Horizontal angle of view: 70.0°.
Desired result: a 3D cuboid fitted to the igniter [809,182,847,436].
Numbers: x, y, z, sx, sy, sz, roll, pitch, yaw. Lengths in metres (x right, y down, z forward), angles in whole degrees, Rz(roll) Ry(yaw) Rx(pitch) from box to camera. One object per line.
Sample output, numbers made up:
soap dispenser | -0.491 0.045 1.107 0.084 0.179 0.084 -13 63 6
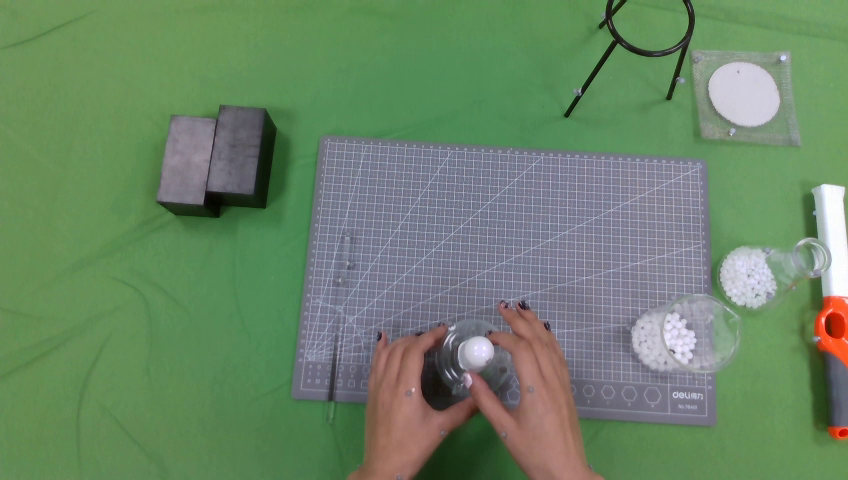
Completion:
igniter | 0.448 0.071 0.660 0.057 0.025 0.275 7 77 -11

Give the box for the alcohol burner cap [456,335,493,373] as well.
alcohol burner cap | 0.049 0.104 0.563 0.034 0.048 0.033 2 72 -5

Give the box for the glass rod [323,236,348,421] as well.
glass rod | -0.095 0.093 0.655 0.008 0.008 0.199 5 80 0

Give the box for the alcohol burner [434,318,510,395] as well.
alcohol burner | 0.048 0.113 0.598 0.078 0.119 0.077 0 75 2

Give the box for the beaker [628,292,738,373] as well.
beaker | 0.257 0.095 0.612 0.084 0.100 0.073 -19 78 -5

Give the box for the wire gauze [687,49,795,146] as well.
wire gauze | 0.381 -0.174 0.725 0.125 0.011 0.121 2 77 -2

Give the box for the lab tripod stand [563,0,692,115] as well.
lab tripod stand | 0.222 -0.208 0.667 0.148 0.132 0.147 0 79 0

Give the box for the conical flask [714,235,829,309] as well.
conical flask | 0.358 0.027 0.620 0.075 0.122 0.075 0 76 0
